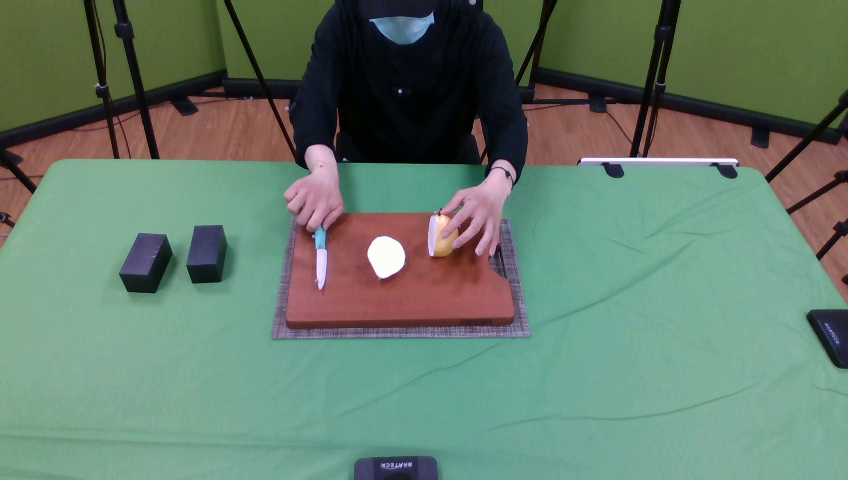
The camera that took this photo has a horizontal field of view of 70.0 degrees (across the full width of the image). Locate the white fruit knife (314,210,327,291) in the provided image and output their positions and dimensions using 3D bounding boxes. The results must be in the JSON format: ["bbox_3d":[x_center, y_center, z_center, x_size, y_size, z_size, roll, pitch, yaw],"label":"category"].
[{"bbox_3d":[-0.192,0.015,1.128,0.027,0.016,0.206,30,34,-33],"label":"white fruit knife"}]

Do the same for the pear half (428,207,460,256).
[{"bbox_3d":[0.039,-0.021,1.117,0.056,0.110,0.076,-6,50,-10],"label":"pear half"}]

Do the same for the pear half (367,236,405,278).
[{"bbox_3d":[-0.072,0.036,1.106,0.070,0.031,0.087,18,59,-6],"label":"pear half"}]
